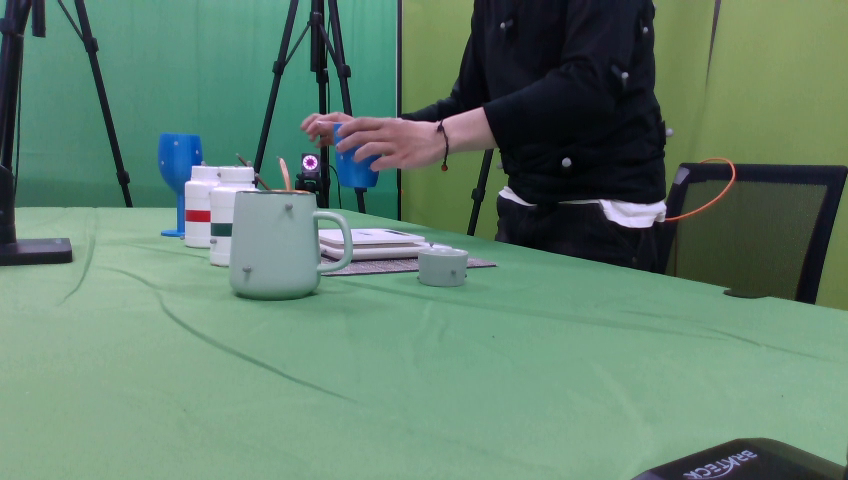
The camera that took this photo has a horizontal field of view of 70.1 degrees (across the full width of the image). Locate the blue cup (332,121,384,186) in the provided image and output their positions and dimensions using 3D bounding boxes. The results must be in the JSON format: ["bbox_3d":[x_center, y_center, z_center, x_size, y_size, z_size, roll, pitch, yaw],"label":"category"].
[{"bbox_3d":[-0.108,-0.141,0.991,0.093,0.100,0.092,1,8,0],"label":"blue cup"}]

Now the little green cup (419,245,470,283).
[{"bbox_3d":[0.023,0.028,0.712,0.061,0.038,0.061,2,6,0],"label":"little green cup"}]

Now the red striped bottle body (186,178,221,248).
[{"bbox_3d":[-0.331,-0.050,0.927,0.063,0.119,0.063,2,7,0],"label":"red striped bottle body"}]

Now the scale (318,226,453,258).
[{"bbox_3d":[-0.066,0.001,0.906,0.202,0.031,0.148,-2,8,-31],"label":"scale"}]

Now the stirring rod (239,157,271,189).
[{"bbox_3d":[-0.309,-0.100,1.214,0.006,0.177,0.014,-37,26,4],"label":"stirring rod"}]

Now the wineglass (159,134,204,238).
[{"bbox_3d":[-0.415,-0.093,1.040,0.074,0.172,0.073,2,7,0],"label":"wineglass"}]

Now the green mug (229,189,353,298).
[{"bbox_3d":[-0.135,0.002,0.618,0.125,0.105,0.092,2,7,4],"label":"green mug"}]

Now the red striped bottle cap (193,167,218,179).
[{"bbox_3d":[-0.329,-0.103,0.921,0.044,0.017,0.044,0,9,0],"label":"red striped bottle cap"}]

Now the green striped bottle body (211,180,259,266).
[{"bbox_3d":[-0.243,-0.029,0.784,0.063,0.119,0.063,2,7,0],"label":"green striped bottle body"}]

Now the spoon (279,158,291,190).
[{"bbox_3d":[-0.281,-0.103,1.251,0.042,0.193,0.021,16,-45,-38],"label":"spoon"}]

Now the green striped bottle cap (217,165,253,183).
[{"bbox_3d":[-0.242,-0.085,0.777,0.044,0.020,0.044,2,9,0],"label":"green striped bottle cap"}]
